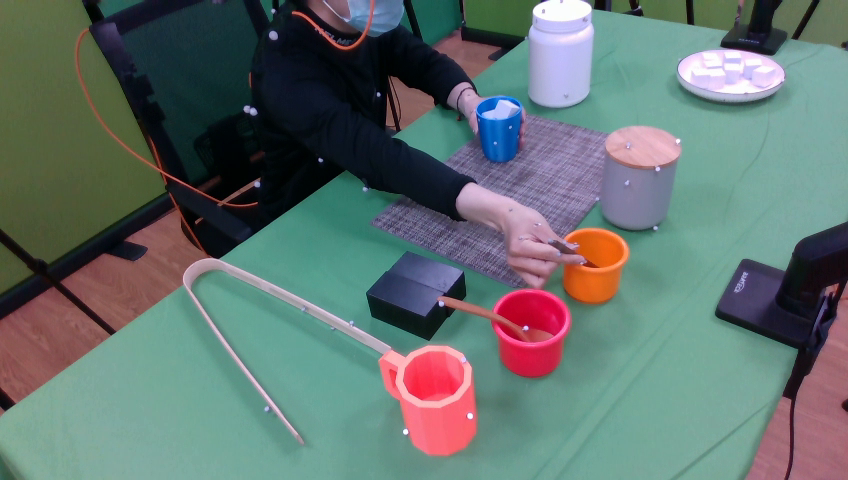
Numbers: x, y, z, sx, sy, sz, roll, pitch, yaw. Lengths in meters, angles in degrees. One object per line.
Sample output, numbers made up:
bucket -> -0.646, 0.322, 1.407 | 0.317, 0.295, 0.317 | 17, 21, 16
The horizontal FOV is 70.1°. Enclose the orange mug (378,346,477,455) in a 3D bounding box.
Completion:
orange mug -> 0.002, 0.179, 0.708 | 0.125, 0.101, 0.083 | 25, 50, 27

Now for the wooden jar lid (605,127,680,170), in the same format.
wooden jar lid -> 0.327, -0.134, 0.909 | 0.108, 0.021, 0.108 | -2, 43, 2

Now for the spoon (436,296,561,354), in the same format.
spoon -> 0.096, 0.102, 0.750 | 0.195, 0.021, 0.041 | 28, 31, -28

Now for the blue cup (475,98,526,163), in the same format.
blue cup -> 0.141, -0.202, 1.134 | 0.092, 0.100, 0.092 | -4, 39, 4

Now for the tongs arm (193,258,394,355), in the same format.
tongs arm -> -0.203, 0.099, 0.881 | 0.382, 0.027, 0.051 | 23, 55, 31

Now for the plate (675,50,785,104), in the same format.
plate -> 0.632, -0.336, 1.262 | 0.207, 0.039, 0.206 | -4, 41, 4

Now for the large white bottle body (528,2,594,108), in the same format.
large white bottle body -> 0.283, -0.386, 1.259 | 0.130, 0.185, 0.130 | -4, 41, 4

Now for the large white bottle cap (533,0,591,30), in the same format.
large white bottle cap -> 0.275, -0.450, 1.204 | 0.115, 0.018, 0.114 | -4, 41, 4

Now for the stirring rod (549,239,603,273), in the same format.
stirring rod -> 0.208, 0.024, 0.817 | 0.014, 0.178, 0.006 | -1, 75, 35

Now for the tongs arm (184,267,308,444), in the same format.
tongs arm -> -0.259, 0.147, 0.843 | 0.028, 0.028, 0.384 | -38, 49, -18

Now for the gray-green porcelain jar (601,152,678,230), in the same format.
gray-green porcelain jar -> 0.335, -0.087, 0.949 | 0.106, 0.127, 0.105 | -4, 40, 4
